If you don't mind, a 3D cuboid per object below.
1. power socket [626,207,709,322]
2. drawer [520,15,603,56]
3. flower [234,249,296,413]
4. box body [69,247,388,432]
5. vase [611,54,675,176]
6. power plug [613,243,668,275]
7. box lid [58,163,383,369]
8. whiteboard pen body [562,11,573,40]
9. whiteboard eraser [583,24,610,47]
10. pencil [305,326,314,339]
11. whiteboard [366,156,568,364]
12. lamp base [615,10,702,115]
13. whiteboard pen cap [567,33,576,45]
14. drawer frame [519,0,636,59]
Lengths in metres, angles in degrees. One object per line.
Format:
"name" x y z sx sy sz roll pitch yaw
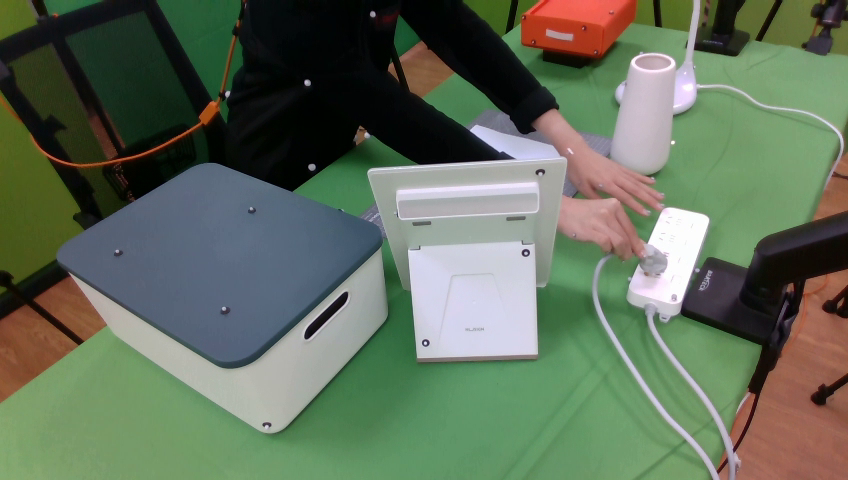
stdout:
"power socket" 0.360 0.026 0.886 0.072 0.033 0.227 17 46 26
"drawer" 0.359 -0.517 1.416 0.193 0.073 0.212 20 47 29
"flower" -0.244 0.109 0.870 0.044 0.038 0.358 10 26 -32
"box body" -0.256 0.065 0.826 0.361 0.161 0.255 20 48 29
"vase" 0.377 -0.209 1.031 0.098 0.201 0.097 -3 40 3
"power plug" 0.301 0.023 0.838 0.072 0.053 0.035 22 56 28
"box lid" -0.262 0.010 0.777 0.369 0.015 0.264 21 47 29
"whiteboard pen body" 0.340 -0.506 1.431 0.017 0.017 0.140 -1 44 7
"whiteboard eraser" 0.407 -0.479 1.423 0.055 0.042 0.113 -2 9 20
"pencil" -0.187 0.106 0.880 0.012 0.012 0.192 -27 41 -22
"whiteboard" 0.059 0.050 0.738 0.217 0.307 0.143 -2 60 6
"lamp base" 0.484 -0.364 1.211 0.180 0.181 0.159 -15 41 -14
"whiteboard pen cap" 0.339 -0.463 1.390 0.018 0.018 0.033 -2 44 5
"drawer frame" 0.362 -0.518 1.423 0.200 0.083 0.214 19 48 29
